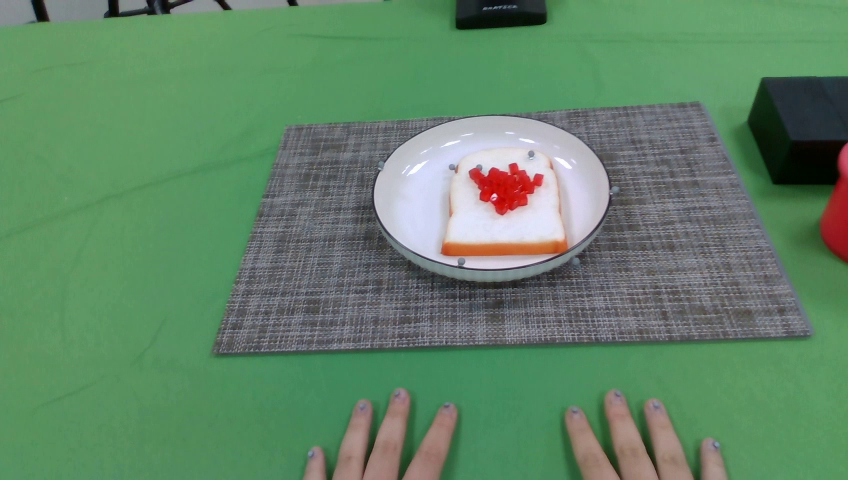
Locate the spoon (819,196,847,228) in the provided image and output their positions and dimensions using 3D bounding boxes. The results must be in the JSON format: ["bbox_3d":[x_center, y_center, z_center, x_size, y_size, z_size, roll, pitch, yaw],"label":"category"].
[{"bbox_3d":[0.393,-0.041,0.436,0.022,0.193,0.041,49,55,-12],"label":"spoon"}]

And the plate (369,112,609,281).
[{"bbox_3d":[0.055,-0.040,0.543,0.209,0.038,0.207,-3,46,4],"label":"plate"}]

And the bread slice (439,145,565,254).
[{"bbox_3d":[0.068,-0.040,0.544,0.105,0.019,0.130,0,47,5],"label":"bread slice"}]
